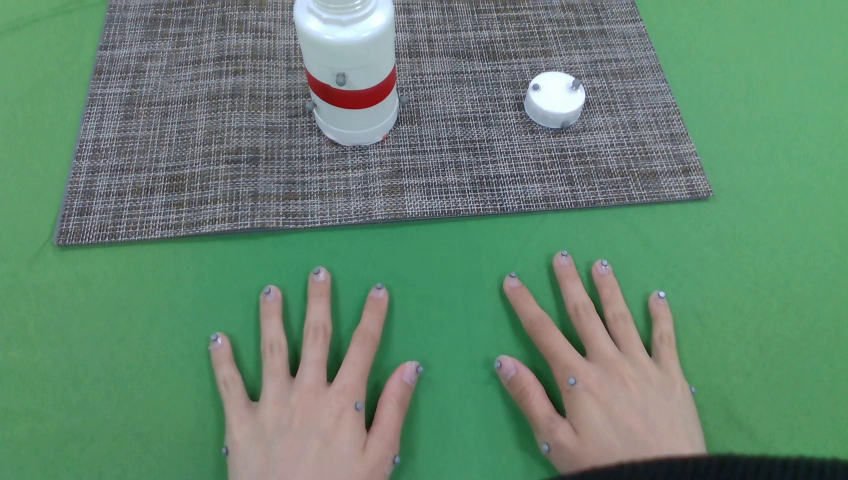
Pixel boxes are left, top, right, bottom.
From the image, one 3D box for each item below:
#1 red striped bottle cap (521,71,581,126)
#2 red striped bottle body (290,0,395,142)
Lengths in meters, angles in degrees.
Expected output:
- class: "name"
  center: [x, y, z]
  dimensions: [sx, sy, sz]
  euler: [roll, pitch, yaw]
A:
- class: "red striped bottle cap"
  center: [0.097, -0.109, 0.463]
  dimensions: [0.044, 0.018, 0.044]
  euler: [1, 57, -1]
- class: "red striped bottle body"
  center: [-0.052, -0.126, 0.406]
  dimensions: [0.063, 0.120, 0.062]
  euler: [0, 60, -1]
